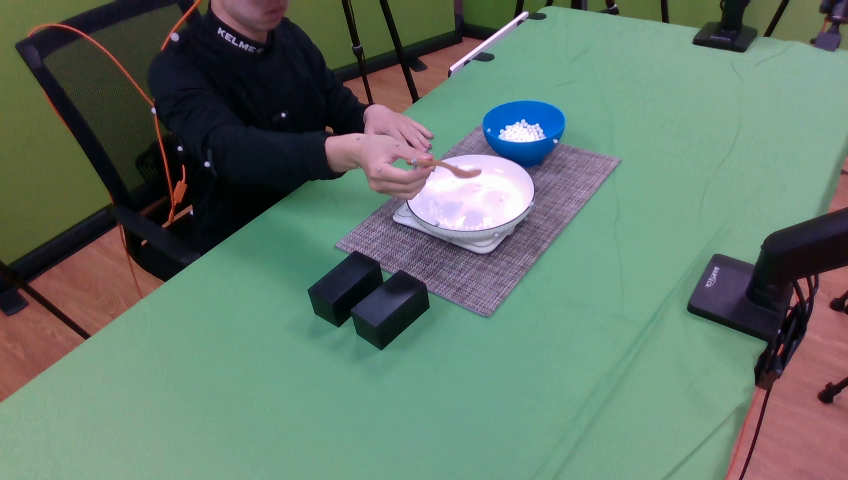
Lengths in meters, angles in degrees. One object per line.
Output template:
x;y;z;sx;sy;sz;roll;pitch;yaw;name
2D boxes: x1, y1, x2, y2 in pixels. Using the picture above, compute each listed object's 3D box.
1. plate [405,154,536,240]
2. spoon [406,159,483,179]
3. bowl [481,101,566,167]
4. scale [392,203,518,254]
0.075;-0.067;0.973;0.209;0.038;0.208;-4;41;4;plate
0.029;-0.107;0.883;0.041;0.021;0.195;3;0;33;spoon
0.182;-0.186;1.111;0.151;0.077;0.150;-4;40;4;bowl
0.061;-0.051;1.006;0.199;0.032;0.149;22;48;30;scale
